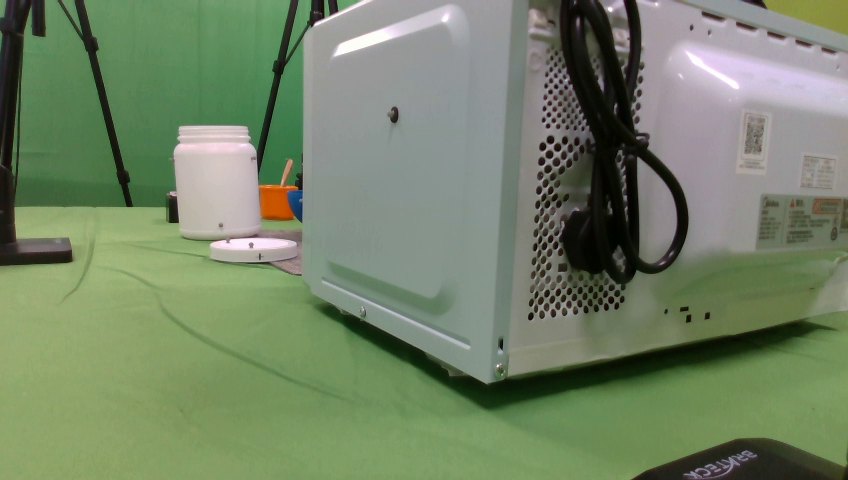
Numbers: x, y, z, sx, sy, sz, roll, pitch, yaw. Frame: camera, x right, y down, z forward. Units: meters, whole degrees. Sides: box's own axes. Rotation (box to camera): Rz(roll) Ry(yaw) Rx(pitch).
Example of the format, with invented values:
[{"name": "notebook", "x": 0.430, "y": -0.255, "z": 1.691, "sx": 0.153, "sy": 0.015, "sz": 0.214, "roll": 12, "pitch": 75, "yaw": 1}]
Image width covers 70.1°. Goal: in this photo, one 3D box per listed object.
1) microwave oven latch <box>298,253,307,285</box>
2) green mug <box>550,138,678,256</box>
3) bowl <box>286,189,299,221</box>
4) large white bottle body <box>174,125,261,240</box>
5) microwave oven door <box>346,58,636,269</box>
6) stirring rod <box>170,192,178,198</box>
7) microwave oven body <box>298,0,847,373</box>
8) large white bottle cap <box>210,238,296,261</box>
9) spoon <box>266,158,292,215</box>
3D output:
[{"name": "microwave oven latch", "x": -0.082, "y": 0.027, "z": 0.583, "sx": 0.079, "sy": 0.029, "sz": 0.030, "roll": -1, "pitch": 7, "yaw": -32}, {"name": "green mug", "x": 0.178, "y": -0.037, "z": 0.582, "sx": 0.124, "sy": 0.105, "sz": 0.093, "roll": -1, "pitch": 0, "yaw": 42}, {"name": "bowl", "x": -0.179, "y": -0.051, "z": 1.115, "sx": 0.151, "sy": 0.077, "sz": 0.151, "roll": 3, "pitch": 8, "yaw": 0}, {"name": "large white bottle body", "x": -0.349, "y": -0.100, "z": 1.024, "sx": 0.131, "sy": 0.184, "sz": 0.130, "roll": -1, "pitch": 9, "yaw": 0}, {"name": "microwave oven door", "x": 0.086, "y": -0.088, "z": 0.746, "sx": 0.357, "sy": 0.243, "sz": 0.039, "roll": 1, "pitch": 8, "yaw": -11}, {"name": "stirring rod", "x": -0.465, "y": -0.098, "z": 1.283, "sx": 0.014, "sy": 0.006, "sz": 0.177, "roll": 42, "pitch": 21, "yaw": 17}, {"name": "microwave oven body", "x": 0.151, "y": -0.055, "z": 0.543, "sx": 0.444, "sy": 0.260, "sz": 0.324, "roll": -1, "pitch": 7, "yaw": -33}, {"name": "large white bottle cap", "x": -0.236, "y": 0.013, "z": 0.839, "sx": 0.115, "sy": 0.018, "sz": 0.115, "roll": 1, "pitch": 7, "yaw": 0}, {"name": "spoon", "x": -0.334, "y": -0.127, "z": 1.423, "sx": 0.041, "sy": 0.193, "sz": 0.022, "roll": 0, "pitch": -37, "yaw": 7}]
